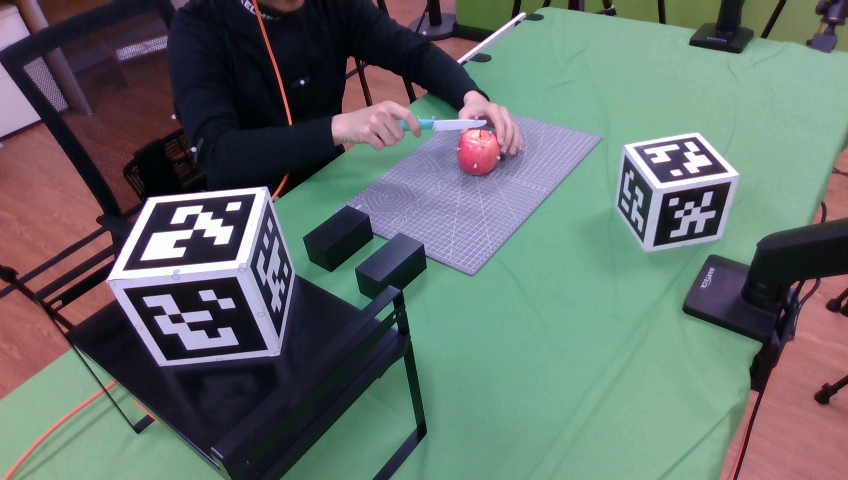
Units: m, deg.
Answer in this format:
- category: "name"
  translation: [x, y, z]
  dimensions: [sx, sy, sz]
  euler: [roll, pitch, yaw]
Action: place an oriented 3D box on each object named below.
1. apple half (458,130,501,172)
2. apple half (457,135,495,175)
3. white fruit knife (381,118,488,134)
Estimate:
- category: "apple half"
  translation: [0.108, -0.166, 1.106]
  dimensions: [0.080, 0.075, 0.053]
  euler: [16, 41, 32]
- category: "apple half"
  translation: [0.087, -0.145, 1.082]
  dimensions: [0.080, 0.081, 0.033]
  euler: [21, 44, 29]
- category: "white fruit knife"
  translation: [0.013, -0.199, 1.045]
  dimensions: [0.206, 0.027, 0.016]
  euler: [1, 51, 24]
